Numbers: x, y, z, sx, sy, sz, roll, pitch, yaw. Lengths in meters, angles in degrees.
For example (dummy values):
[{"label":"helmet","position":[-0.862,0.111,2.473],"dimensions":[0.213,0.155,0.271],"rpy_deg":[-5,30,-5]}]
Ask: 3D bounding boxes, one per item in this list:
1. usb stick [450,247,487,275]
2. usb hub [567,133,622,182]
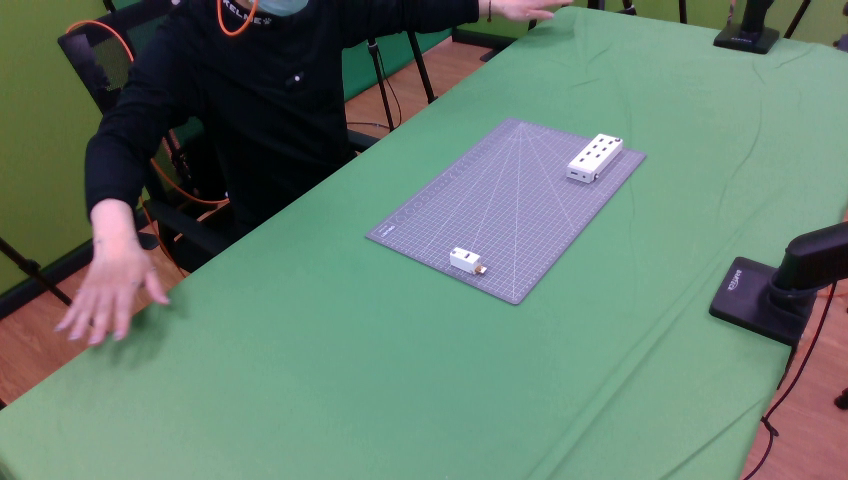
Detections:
[{"label":"usb stick","position":[0.069,0.033,0.912],"dimensions":[0.059,0.027,0.021],"rpy_deg":[24,48,28]},{"label":"usb hub","position":[0.309,-0.149,1.091],"dimensions":[0.049,0.025,0.125],"rpy_deg":[24,50,31]}]
